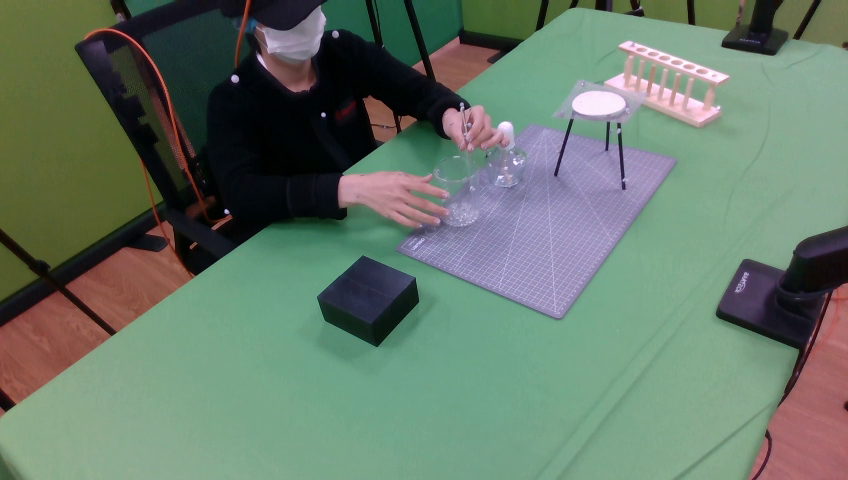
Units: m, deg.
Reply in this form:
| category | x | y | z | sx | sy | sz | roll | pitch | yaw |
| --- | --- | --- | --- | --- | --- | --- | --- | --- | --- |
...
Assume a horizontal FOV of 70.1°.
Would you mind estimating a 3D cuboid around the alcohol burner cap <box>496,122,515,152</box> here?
| category | x | y | z | sx | sy | sz | roll | pitch | yaw |
| --- | --- | --- | --- | --- | --- | --- | --- | --- | --- |
| alcohol burner cap | 0.139 | -0.180 | 1.037 | 0.034 | 0.048 | 0.033 | -4 | 43 | 4 |

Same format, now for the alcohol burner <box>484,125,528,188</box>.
| category | x | y | z | sx | sy | sz | roll | pitch | yaw |
| --- | --- | --- | --- | --- | --- | --- | --- | --- | --- |
| alcohol burner | 0.144 | -0.152 | 1.059 | 0.078 | 0.119 | 0.077 | -3 | 41 | 3 |

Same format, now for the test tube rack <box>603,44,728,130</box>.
| category | x | y | z | sx | sy | sz | roll | pitch | yaw |
| --- | --- | --- | --- | --- | --- | --- | --- | --- | --- |
| test tube rack | 0.480 | -0.316 | 1.227 | 0.067 | 0.085 | 0.240 | -28 | 44 | -22 |

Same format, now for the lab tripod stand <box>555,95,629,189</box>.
| category | x | y | z | sx | sy | sz | roll | pitch | yaw |
| --- | --- | --- | --- | --- | --- | --- | --- | --- | --- |
| lab tripod stand | 0.300 | -0.174 | 1.045 | 0.148 | 0.132 | 0.147 | -5 | 38 | 5 |

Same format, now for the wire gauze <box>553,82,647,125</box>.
| category | x | y | z | sx | sy | sz | roll | pitch | yaw |
| --- | --- | --- | --- | --- | --- | --- | --- | --- | --- |
| wire gauze | 0.293 | -0.225 | 1.002 | 0.120 | 0.011 | 0.125 | 17 | 45 | 27 |

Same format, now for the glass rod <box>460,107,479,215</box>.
| category | x | y | z | sx | sy | sz | roll | pitch | yaw |
| --- | --- | --- | --- | --- | --- | --- | --- | --- | --- |
| glass rod | 0.074 | -0.120 | 0.961 | 0.008 | 0.200 | 0.008 | -8 | 37 | 6 |

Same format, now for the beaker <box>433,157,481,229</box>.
| category | x | y | z | sx | sy | sz | roll | pitch | yaw |
| --- | --- | --- | --- | --- | --- | --- | --- | --- | --- |
| beaker | 0.058 | -0.077 | 0.994 | 0.073 | 0.101 | 0.084 | 19 | 46 | 28 |
